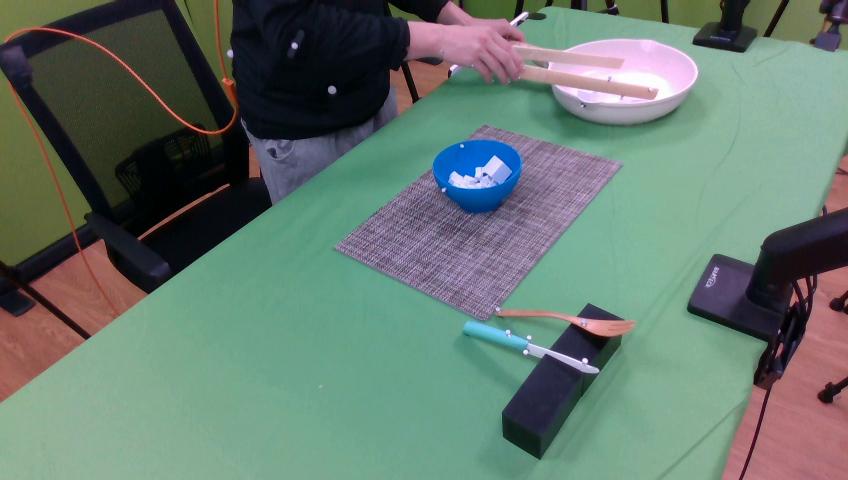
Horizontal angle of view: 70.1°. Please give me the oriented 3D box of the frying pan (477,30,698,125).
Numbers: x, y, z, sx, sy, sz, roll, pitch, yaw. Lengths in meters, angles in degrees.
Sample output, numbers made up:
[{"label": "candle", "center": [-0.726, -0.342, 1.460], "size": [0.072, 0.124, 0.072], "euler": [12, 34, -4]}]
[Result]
[{"label": "frying pan", "center": [0.321, -0.372, 1.290], "size": [0.484, 0.103, 0.308], "euler": [29, 51, 24]}]

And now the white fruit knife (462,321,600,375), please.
[{"label": "white fruit knife", "center": [0.126, 0.132, 0.752], "size": [0.205, 0.027, 0.016], "euler": [12, 48, 42]}]

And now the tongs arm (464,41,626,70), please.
[{"label": "tongs arm", "center": [0.240, -0.348, 1.150], "size": [0.390, 0.028, 0.028], "euler": [-4, 50, -29]}]

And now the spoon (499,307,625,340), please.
[{"label": "spoon", "center": [0.169, 0.102, 0.773], "size": [0.042, 0.021, 0.192], "euler": [-6, 11, -38]}]

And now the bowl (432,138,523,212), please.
[{"label": "bowl", "center": [0.091, -0.100, 1.022], "size": [0.151, 0.077, 0.150], "euler": [-4, 41, 4]}]

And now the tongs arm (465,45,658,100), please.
[{"label": "tongs arm", "center": [0.260, -0.301, 1.104], "size": [0.387, 0.026, 0.050], "euler": [3, 43, -22]}]
